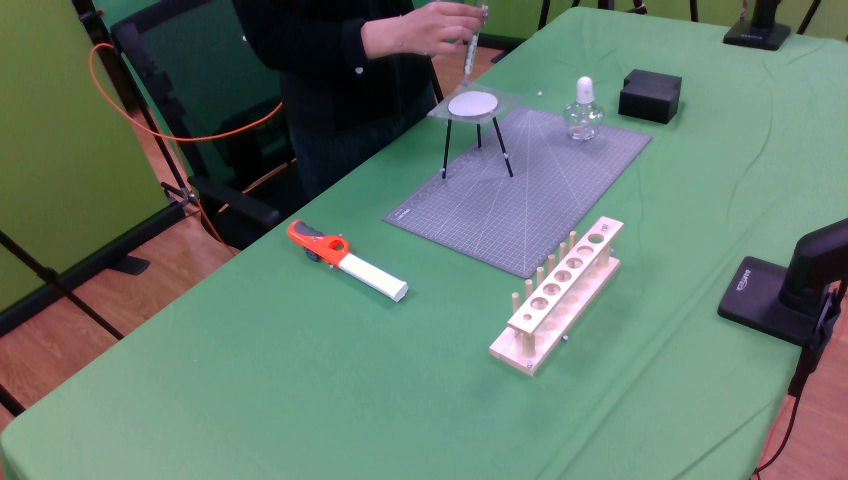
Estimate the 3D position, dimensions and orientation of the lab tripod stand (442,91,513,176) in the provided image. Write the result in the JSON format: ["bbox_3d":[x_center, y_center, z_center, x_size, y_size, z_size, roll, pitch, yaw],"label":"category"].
[{"bbox_3d":[0.096,-0.190,1.096,0.148,0.132,0.147,-4,40,4],"label":"lab tripod stand"}]

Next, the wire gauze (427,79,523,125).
[{"bbox_3d":[0.088,-0.239,1.050,0.120,0.011,0.125,22,50,30],"label":"wire gauze"}]

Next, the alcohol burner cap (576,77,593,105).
[{"bbox_3d":[0.297,-0.279,1.123,0.034,0.048,0.033,-9,41,8],"label":"alcohol burner cap"}]

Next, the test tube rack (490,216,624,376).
[{"bbox_3d":[0.184,0.064,0.822,0.066,0.085,0.243,24,50,33],"label":"test tube rack"}]

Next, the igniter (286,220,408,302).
[{"bbox_3d":[-0.133,0.028,0.969,0.274,0.025,0.057,26,61,35],"label":"igniter"}]

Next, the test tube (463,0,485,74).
[{"bbox_3d":[0.082,-0.339,0.976,0.017,0.150,0.017,6,40,-4],"label":"test tube"}]

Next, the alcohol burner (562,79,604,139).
[{"bbox_3d":[0.303,-0.253,1.147,0.078,0.119,0.077,-4,41,4],"label":"alcohol burner"}]
